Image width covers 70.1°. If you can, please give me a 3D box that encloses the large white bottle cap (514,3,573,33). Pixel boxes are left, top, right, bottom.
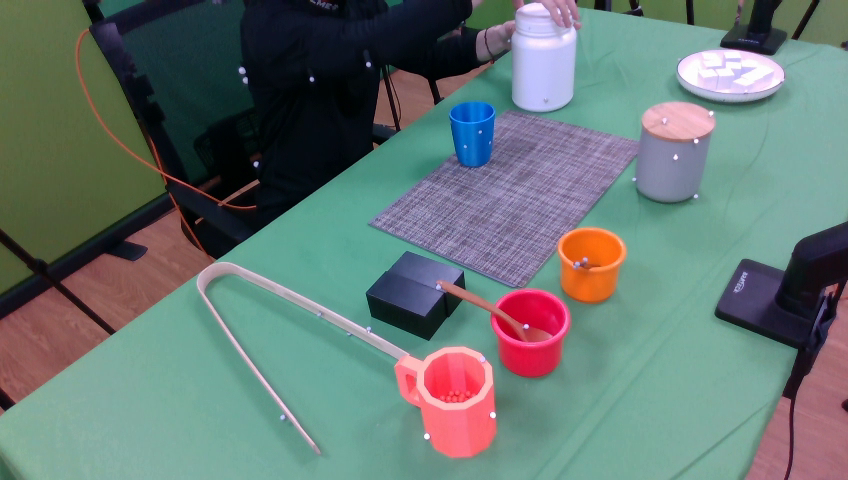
[{"bbox_3d":[0.236,-0.440,1.197,0.115,0.018,0.114,-4,41,4],"label":"large white bottle cap"}]

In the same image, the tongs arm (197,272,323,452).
[{"bbox_3d":[-0.236,0.153,0.830,0.028,0.028,0.384,-36,47,-19],"label":"tongs arm"}]

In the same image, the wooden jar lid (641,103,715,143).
[{"bbox_3d":[0.398,-0.180,0.952,0.108,0.021,0.108,-4,43,4],"label":"wooden jar lid"}]

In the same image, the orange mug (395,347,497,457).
[{"bbox_3d":[0.024,0.181,0.703,0.125,0.101,0.083,20,48,23],"label":"orange mug"}]

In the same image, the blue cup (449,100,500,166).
[{"bbox_3d":[0.092,-0.194,1.123,0.092,0.100,0.092,-3,40,3],"label":"blue cup"}]

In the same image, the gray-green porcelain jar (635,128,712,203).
[{"bbox_3d":[0.404,-0.133,0.992,0.106,0.127,0.105,-4,40,4],"label":"gray-green porcelain jar"}]

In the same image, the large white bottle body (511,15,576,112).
[{"bbox_3d":[0.246,-0.376,1.253,0.130,0.185,0.130,-5,41,5],"label":"large white bottle body"}]

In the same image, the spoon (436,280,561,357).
[{"bbox_3d":[0.096,0.095,0.757,0.195,0.021,0.041,34,40,-20],"label":"spoon"}]

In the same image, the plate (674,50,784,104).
[{"bbox_3d":[0.631,-0.336,1.262,0.207,0.039,0.206,-4,41,4],"label":"plate"}]

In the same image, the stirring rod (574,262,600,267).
[{"bbox_3d":[0.222,0.033,0.816,0.014,0.006,0.177,7,0,22],"label":"stirring rod"}]

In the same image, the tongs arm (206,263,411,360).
[{"bbox_3d":[-0.179,0.106,0.870,0.381,0.026,0.051,23,53,32],"label":"tongs arm"}]
